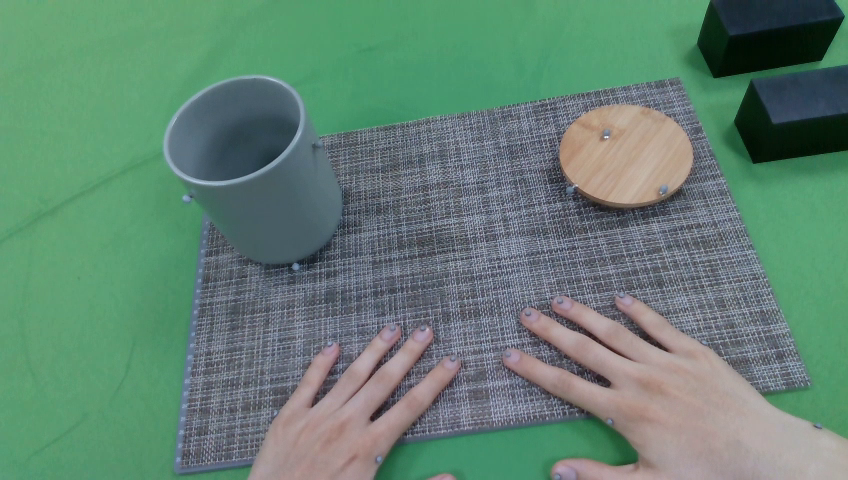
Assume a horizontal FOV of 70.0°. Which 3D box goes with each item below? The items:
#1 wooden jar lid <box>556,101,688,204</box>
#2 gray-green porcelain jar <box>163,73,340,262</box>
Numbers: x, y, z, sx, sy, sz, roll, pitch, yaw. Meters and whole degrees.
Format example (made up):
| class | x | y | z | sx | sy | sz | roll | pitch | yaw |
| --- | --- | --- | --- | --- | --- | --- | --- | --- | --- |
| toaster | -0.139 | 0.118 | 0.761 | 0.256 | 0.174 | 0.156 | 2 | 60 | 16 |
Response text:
| class | x | y | z | sx | sy | sz | roll | pitch | yaw |
| --- | --- | --- | --- | --- | --- | --- | --- | --- | --- |
| wooden jar lid | 0.168 | -0.073 | 0.519 | 0.108 | 0.021 | 0.107 | -4 | 60 | 7 |
| gray-green porcelain jar | -0.129 | -0.050 | 0.488 | 0.106 | 0.127 | 0.105 | -4 | 58 | 6 |
